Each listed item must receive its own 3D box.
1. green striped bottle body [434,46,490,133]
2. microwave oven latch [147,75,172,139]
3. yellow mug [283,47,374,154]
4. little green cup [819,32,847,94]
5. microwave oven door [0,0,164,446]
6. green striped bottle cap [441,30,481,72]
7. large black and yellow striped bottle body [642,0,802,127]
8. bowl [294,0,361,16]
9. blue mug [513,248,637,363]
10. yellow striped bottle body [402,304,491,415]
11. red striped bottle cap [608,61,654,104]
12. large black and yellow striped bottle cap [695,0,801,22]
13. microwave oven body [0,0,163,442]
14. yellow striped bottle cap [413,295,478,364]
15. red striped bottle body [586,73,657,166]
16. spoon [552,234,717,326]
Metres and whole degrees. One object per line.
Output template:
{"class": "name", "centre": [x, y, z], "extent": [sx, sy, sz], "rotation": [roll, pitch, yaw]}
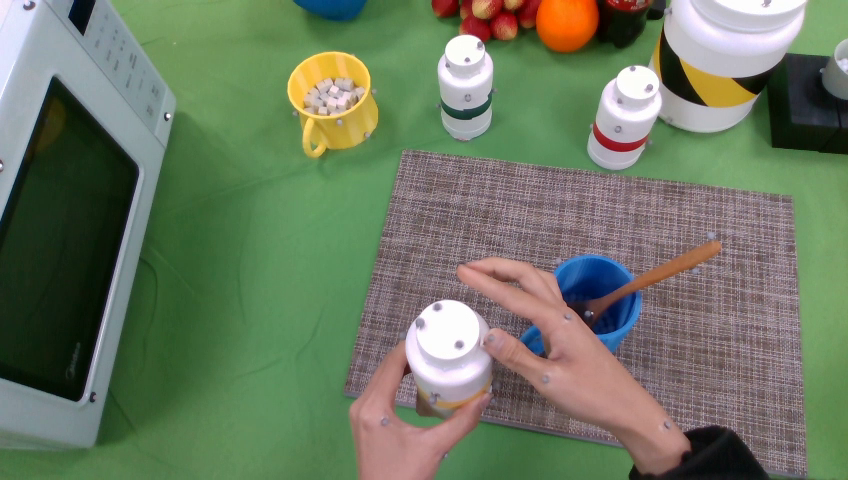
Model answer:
{"class": "green striped bottle body", "centre": [0.044, -0.184, 0.705], "extent": [0.063, 0.120, 0.062], "rotation": [-1, 65, 3]}
{"class": "microwave oven latch", "centre": [-0.334, -0.163, 0.748], "extent": [0.030, 0.030, 0.078], "rotation": [1, 66, 5]}
{"class": "yellow mug", "centre": [-0.121, -0.163, 0.737], "extent": [0.099, 0.064, 0.130], "rotation": [17, 69, 12]}
{"class": "little green cup", "centre": [0.470, -0.193, 0.665], "extent": [0.061, 0.039, 0.061], "rotation": [0, 64, 1]}
{"class": "microwave oven door", "centre": [-0.349, -0.006, 0.567], "extent": [0.039, 0.246, 0.353], "rotation": [-1, 65, 5]}
{"class": "green striped bottle cap", "centre": [0.040, -0.206, 0.657], "extent": [0.044, 0.020, 0.044], "rotation": [-1, 65, 3]}
{"class": "large black and yellow striped bottle body", "centre": [0.323, -0.228, 0.668], "extent": [0.131, 0.185, 0.129], "rotation": [-2, 65, 4]}
{"class": "bowl", "centre": [-0.127, -0.360, 0.820], "extent": [0.151, 0.077, 0.150], "rotation": [-1, 66, 3]}
{"class": "blue mug", "centre": [0.138, 0.074, 0.585], "extent": [0.116, 0.107, 0.081], "rotation": [-26, 65, -7]}
{"class": "yellow striped bottle body", "centre": [0.018, 0.086, 0.454], "extent": [0.063, 0.121, 0.062], "rotation": [-2, 60, 4]}
{"class": "red striped bottle cap", "centre": [0.214, -0.163, 0.624], "extent": [0.044, 0.018, 0.044], "rotation": [0, 65, 0]}
{"class": "large black and yellow striped bottle cap", "centre": [0.316, -0.262, 0.591], "extent": [0.115, 0.019, 0.114], "rotation": [-2, 64, 4]}
{"class": "microwave oven body", "centre": [-0.493, -0.041, 0.599], "extent": [0.326, 0.262, 0.438], "rotation": [0, 66, 4]}
{"class": "yellow striped bottle cap", "centre": [0.015, 0.060, 0.409], "extent": [0.044, 0.019, 0.044], "rotation": [-2, 60, 5]}
{"class": "red striped bottle body", "centre": [0.219, -0.140, 0.671], "extent": [0.063, 0.120, 0.062], "rotation": [-3, 64, 6]}
{"class": "spoon", "centre": [0.177, 0.043, 0.548], "extent": [0.022, 0.194, 0.041], "rotation": [8, 59, -31]}
